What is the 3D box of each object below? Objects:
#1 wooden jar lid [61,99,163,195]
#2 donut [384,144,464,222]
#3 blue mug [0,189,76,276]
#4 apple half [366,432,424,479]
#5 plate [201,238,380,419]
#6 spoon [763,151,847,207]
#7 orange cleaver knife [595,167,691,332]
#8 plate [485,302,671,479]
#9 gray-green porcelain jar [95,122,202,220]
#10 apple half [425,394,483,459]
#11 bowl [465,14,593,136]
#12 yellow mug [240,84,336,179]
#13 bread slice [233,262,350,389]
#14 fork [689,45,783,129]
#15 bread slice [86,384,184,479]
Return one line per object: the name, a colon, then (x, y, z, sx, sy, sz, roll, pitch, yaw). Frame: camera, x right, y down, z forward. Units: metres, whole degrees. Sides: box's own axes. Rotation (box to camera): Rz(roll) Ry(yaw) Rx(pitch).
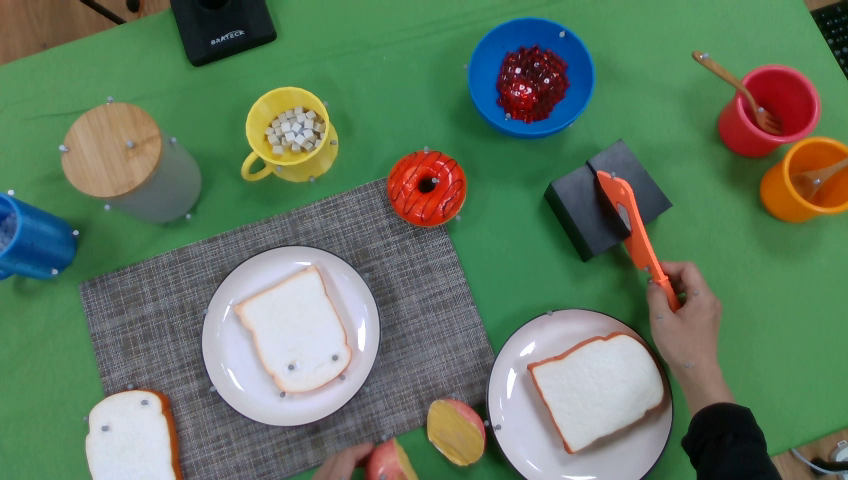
wooden jar lid: (-0.332, -0.098, 0.651, 0.108, 0.021, 0.108, 0, 77, 2)
donut: (0.001, -0.070, 0.740, 0.099, 0.048, 0.098, 0, 79, 1)
blue mug: (-0.490, 0.004, 0.707, 0.082, 0.106, 0.116, 43, 83, 10)
apple half: (-0.035, 0.255, 0.657, 0.053, 0.074, 0.081, -29, 93, -1)
plate: (-0.153, 0.103, 0.711, 0.208, 0.039, 0.206, 0, 79, 1)
spoon: (0.482, -0.096, 0.686, 0.022, 0.194, 0.041, -13, 71, -47)
orange cleaver knife: (0.251, 0.010, 0.702, 0.012, 0.077, 0.212, -28, 100, -5)
plate: (0.172, 0.177, 0.692, 0.209, 0.038, 0.208, 0, 79, 2)
gray-green porcelain jar: (-0.330, -0.084, 0.712, 0.106, 0.127, 0.105, 0, 78, 1)
apple half: (0.038, 0.207, 0.687, 0.081, 0.081, 0.033, 50, 44, 10)
bowl: (0.125, -0.191, 0.749, 0.151, 0.077, 0.150, 0, 79, 1)
yellow mug: (-0.175, -0.123, 0.748, 0.131, 0.064, 0.099, -43, 81, -7)
bread slice: (-0.146, 0.105, 0.712, 0.107, 0.018, 0.133, -31, 79, -4)
fork: (0.367, -0.176, 0.704, 0.209, 0.018, 0.028, 20, 74, -37)
bread slice: (-0.338, 0.235, 0.698, 0.105, 0.019, 0.131, -12, 79, -2)
